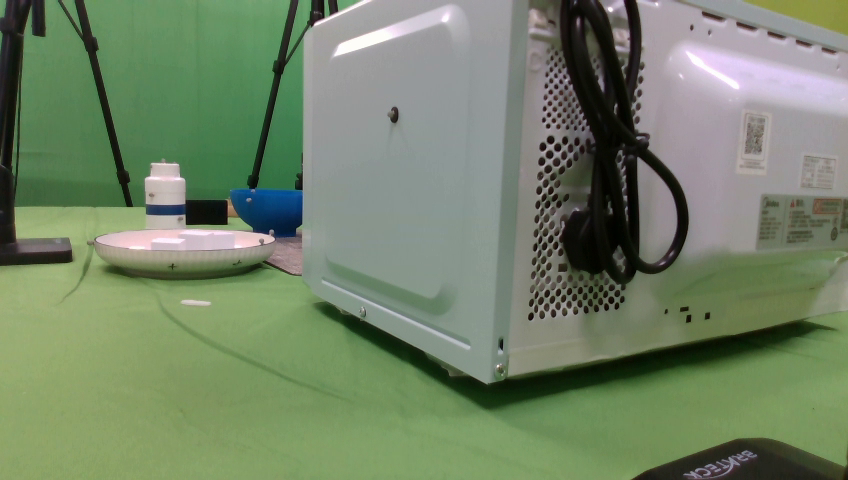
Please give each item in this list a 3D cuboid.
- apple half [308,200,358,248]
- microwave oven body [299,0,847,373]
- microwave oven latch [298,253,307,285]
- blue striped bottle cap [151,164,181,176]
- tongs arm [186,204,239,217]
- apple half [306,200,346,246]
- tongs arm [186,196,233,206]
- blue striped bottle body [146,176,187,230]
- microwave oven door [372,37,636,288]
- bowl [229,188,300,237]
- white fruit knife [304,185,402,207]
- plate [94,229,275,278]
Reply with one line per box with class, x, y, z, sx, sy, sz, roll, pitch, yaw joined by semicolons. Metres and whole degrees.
apple half;-0.134;-0.023;0.941;0.053;0.074;0.081;15;10;39
microwave oven body;0.152;-0.055;0.542;0.444;0.260;0.324;-2;7;-33
microwave oven latch;-0.081;0.027;0.582;0.079;0.029;0.030;-2;7;-32
blue striped bottle cap;-0.428;-0.116;1.002;0.044;0.020;0.044;1;6;0
tongs arm;-0.396;-0.066;1.399;0.389;0.028;0.028;1;5;-15
apple half;-0.163;-0.029;0.965;0.032;0.081;0.082;15;14;40
tongs arm;-0.404;-0.081;1.479;0.385;0.026;0.050;3;8;-2
blue striped bottle body;-0.430;-0.065;1.009;0.063;0.120;0.063;2;7;0
microwave oven door;0.110;-0.080;0.686;0.358;0.243;0.039;-2;9;-33
bowl;-0.265;-0.048;1.066;0.151;0.077;0.151;3;8;0
white fruit knife;-0.111;-0.074;0.989;0.016;0.027;0.208;22;13;41
plate;-0.291;0.016;0.750;0.208;0.039;0.207;2;7;0
